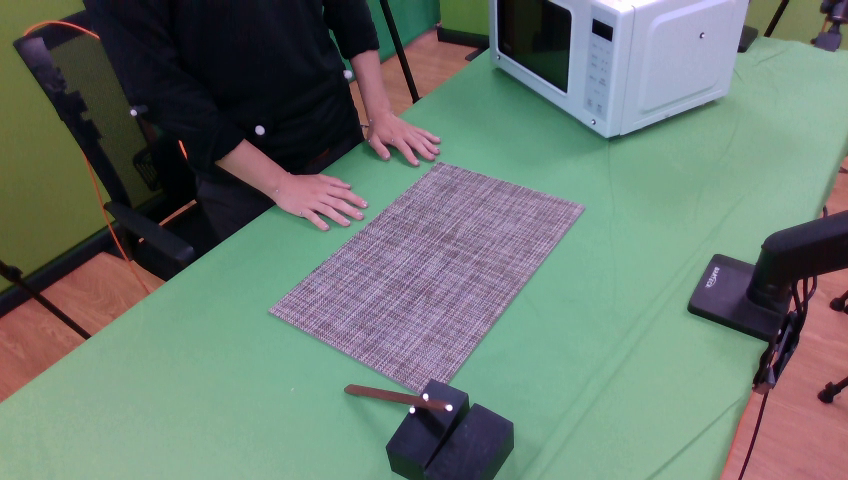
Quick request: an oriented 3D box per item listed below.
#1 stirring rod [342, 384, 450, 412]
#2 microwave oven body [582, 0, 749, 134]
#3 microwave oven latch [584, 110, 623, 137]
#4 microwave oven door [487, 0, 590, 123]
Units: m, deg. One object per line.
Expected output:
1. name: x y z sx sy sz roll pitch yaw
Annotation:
1. stirring rod: -0.038 0.186 0.714 0.175 0.006 0.014 -3 22 43
2. microwave oven body: 0.382 -0.444 1.246 0.327 0.261 0.437 -22 42 -16
3. microwave oven latch: 0.337 -0.222 1.142 0.030 0.029 0.078 -21 42 -14
4. microwave oven door: 0.232 -0.420 1.231 0.039 0.245 0.352 -22 43 -16
